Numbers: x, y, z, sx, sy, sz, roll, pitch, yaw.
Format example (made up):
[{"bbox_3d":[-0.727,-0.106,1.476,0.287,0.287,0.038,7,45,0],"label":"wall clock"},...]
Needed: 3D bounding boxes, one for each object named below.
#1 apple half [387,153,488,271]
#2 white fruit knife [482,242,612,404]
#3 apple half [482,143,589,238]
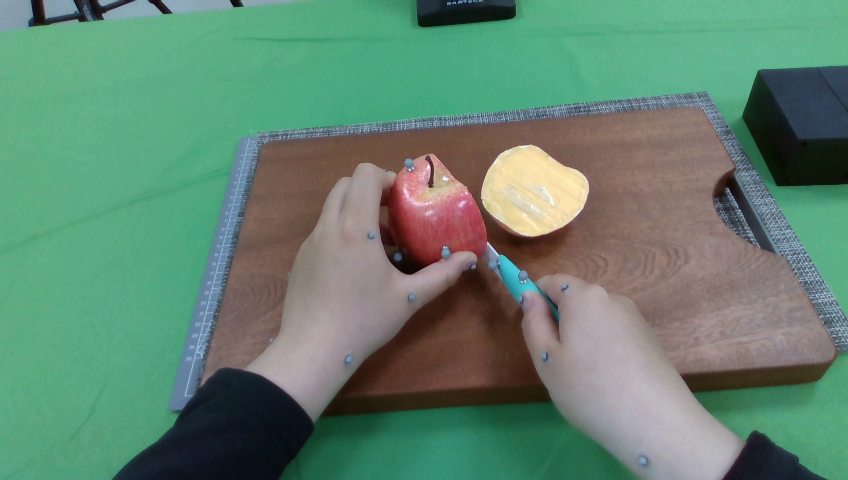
[{"bbox_3d":[0.003,-0.013,0.424,0.053,0.075,0.080,-29,55,-12],"label":"apple half"},{"bbox_3d":[0.055,0.022,0.404,0.016,0.028,0.205,-24,48,-15],"label":"white fruit knife"},{"bbox_3d":[0.081,-0.031,0.459,0.081,0.033,0.080,-1,64,3],"label":"apple half"}]
